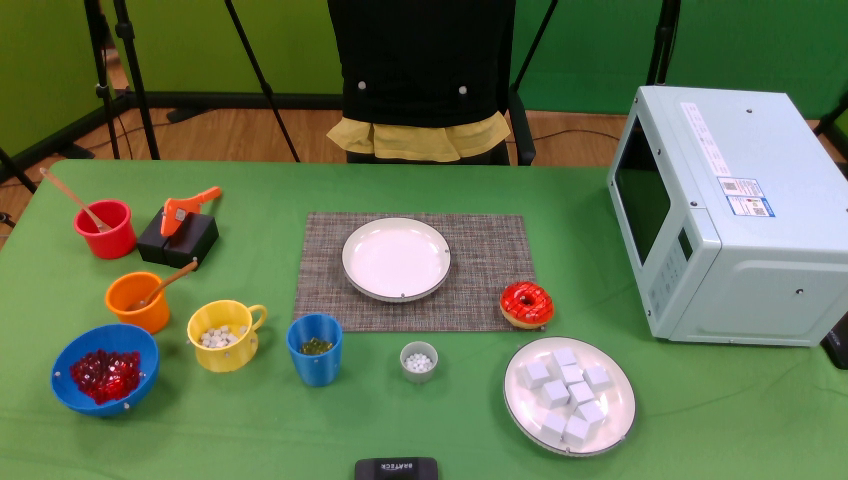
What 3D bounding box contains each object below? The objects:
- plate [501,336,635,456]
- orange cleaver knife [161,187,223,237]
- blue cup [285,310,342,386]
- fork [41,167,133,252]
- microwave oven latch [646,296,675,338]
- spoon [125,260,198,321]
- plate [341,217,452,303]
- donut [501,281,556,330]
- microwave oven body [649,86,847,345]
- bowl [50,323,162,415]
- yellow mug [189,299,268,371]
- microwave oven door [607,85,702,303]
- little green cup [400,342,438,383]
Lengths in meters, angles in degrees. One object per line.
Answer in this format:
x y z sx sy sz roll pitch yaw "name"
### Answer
0.225 0.248 0.963 0.208 0.039 0.206 2 46 -2 "plate"
-0.448 -0.059 1.181 0.012 0.077 0.211 14 17 6 "orange cleaver knife"
-0.170 0.179 0.958 0.093 0.101 0.092 2 44 -1 "blue cup"
-0.624 -0.056 1.121 0.208 0.018 0.028 49 52 -15 "fork"
0.412 0.134 1.061 0.030 0.029 0.078 4 45 1 "microwave oven latch"
-0.434 0.083 1.000 0.022 0.194 0.041 35 34 -34 "spoon"
-0.052 0.039 1.140 0.209 0.038 0.208 2 46 -2 "plate"
0.185 0.116 1.079 0.099 0.048 0.098 3 45 -3 "donut"
0.568 -0.053 1.118 0.326 0.261 0.439 2 45 -1 "microwave oven body"
-0.472 0.209 0.924 0.151 0.077 0.150 2 45 -2 "bowl"
-0.316 0.148 1.002 0.131 0.064 0.099 -32 56 -31 "yellow mug"
0.423 -0.094 1.140 0.039 0.245 0.353 2 46 -1 "microwave oven door"
-0.010 0.202 0.991 0.061 0.039 0.061 2 47 -2 "little green cup"
